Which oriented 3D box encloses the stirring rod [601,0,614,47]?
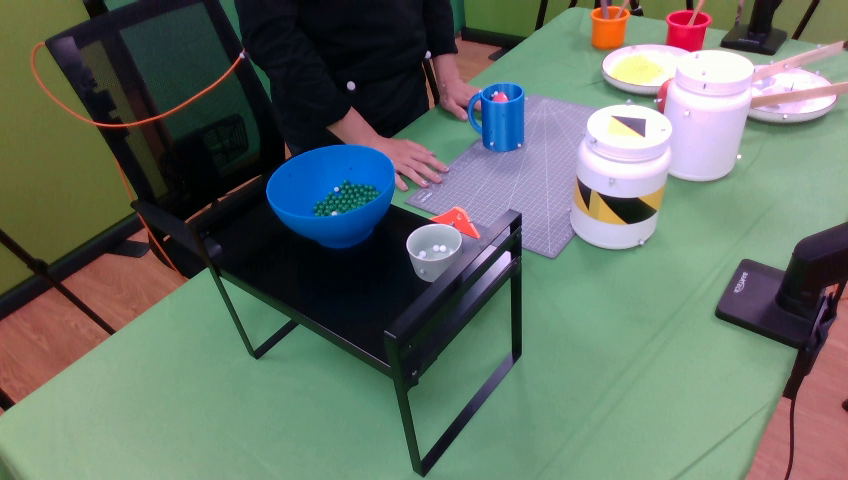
[{"bbox_3d":[0.440,-0.552,1.463,0.014,0.006,0.175,-7,83,4],"label":"stirring rod"}]

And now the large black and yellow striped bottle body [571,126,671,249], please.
[{"bbox_3d":[0.296,-0.093,0.915,0.131,0.185,0.130,-3,42,3],"label":"large black and yellow striped bottle body"}]

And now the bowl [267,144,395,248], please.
[{"bbox_3d":[-0.104,-0.043,0.726,0.151,0.077,0.150,-4,40,4],"label":"bowl"}]

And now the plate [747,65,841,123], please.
[{"bbox_3d":[0.695,-0.282,1.189,0.207,0.039,0.206,-4,40,4],"label":"plate"}]

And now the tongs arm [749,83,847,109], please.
[{"bbox_3d":[0.734,-0.280,1.133,0.388,0.028,0.028,-9,47,-5],"label":"tongs arm"}]

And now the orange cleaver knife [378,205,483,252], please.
[{"bbox_3d":[0.005,-0.010,0.944,0.210,0.077,0.012,-5,23,47],"label":"orange cleaver knife"}]

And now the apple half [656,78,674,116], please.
[{"bbox_3d":[0.488,-0.281,1.192,0.053,0.075,0.081,24,54,37],"label":"apple half"}]

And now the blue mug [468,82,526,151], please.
[{"bbox_3d":[0.139,-0.242,1.170,0.116,0.106,0.082,14,45,24],"label":"blue mug"}]

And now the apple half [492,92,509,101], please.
[{"bbox_3d":[0.143,-0.240,1.159,0.033,0.081,0.080,-11,40,-13],"label":"apple half"}]

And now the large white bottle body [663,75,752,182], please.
[{"bbox_3d":[0.472,-0.207,1.022,0.130,0.185,0.130,-4,41,4],"label":"large white bottle body"}]

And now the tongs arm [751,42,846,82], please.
[{"bbox_3d":[0.708,-0.331,1.194,0.386,0.026,0.050,-18,45,-16],"label":"tongs arm"}]

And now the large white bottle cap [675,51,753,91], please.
[{"bbox_3d":[0.463,-0.271,0.967,0.115,0.018,0.114,-4,40,4],"label":"large white bottle cap"}]

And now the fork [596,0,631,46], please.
[{"bbox_3d":[0.481,-0.556,1.453,0.028,0.019,0.207,40,103,38],"label":"fork"}]

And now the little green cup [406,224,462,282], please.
[{"bbox_3d":[0.012,0.015,0.668,0.061,0.039,0.061,-4,40,4],"label":"little green cup"}]

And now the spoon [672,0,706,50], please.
[{"bbox_3d":[0.629,-0.520,1.394,0.041,0.022,0.193,29,97,34],"label":"spoon"}]

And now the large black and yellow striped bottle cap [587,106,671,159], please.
[{"bbox_3d":[0.290,-0.154,0.858,0.115,0.019,0.114,-4,42,4],"label":"large black and yellow striped bottle cap"}]

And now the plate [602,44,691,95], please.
[{"bbox_3d":[0.495,-0.367,1.317,0.209,0.038,0.208,-4,40,4],"label":"plate"}]
